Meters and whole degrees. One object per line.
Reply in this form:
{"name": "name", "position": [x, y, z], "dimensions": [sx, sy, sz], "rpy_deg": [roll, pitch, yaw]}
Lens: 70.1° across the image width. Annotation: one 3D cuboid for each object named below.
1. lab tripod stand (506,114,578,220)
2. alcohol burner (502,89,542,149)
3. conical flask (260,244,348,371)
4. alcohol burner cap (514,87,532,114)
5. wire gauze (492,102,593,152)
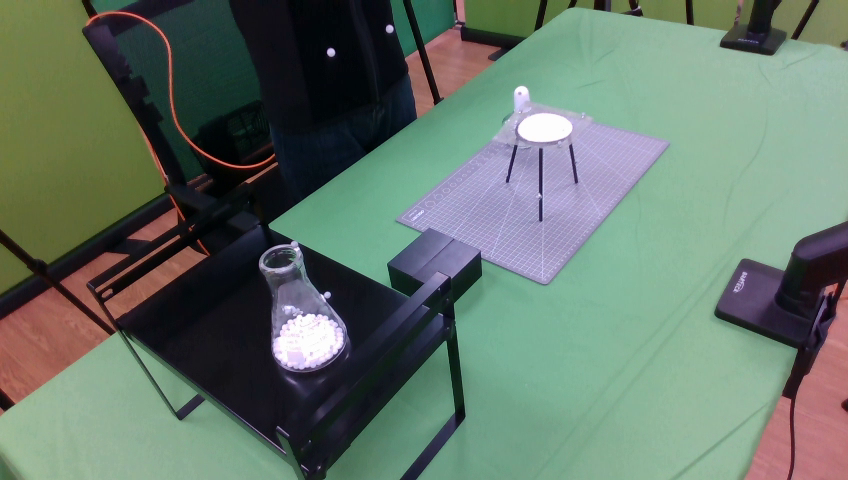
{"name": "lab tripod stand", "position": [0.198, -0.128, 1.005], "dimensions": [0.148, 0.132, 0.147], "rpy_deg": [-3, 42, 3]}
{"name": "alcohol burner", "position": [0.186, -0.235, 1.149], "dimensions": [0.078, 0.119, 0.077], "rpy_deg": [-5, 42, 5]}
{"name": "conical flask", "position": [-0.118, 0.060, 0.565], "dimensions": [0.075, 0.122, 0.075], "rpy_deg": [-5, 41, 4]}
{"name": "alcohol burner cap", "position": [0.183, -0.262, 1.125], "dimensions": [0.034, 0.048, 0.033], "rpy_deg": [-8, 40, 7]}
{"name": "wire gauze", "position": [0.190, -0.180, 0.964], "dimensions": [0.120, 0.011, 0.125], "rpy_deg": [19, 48, 27]}
